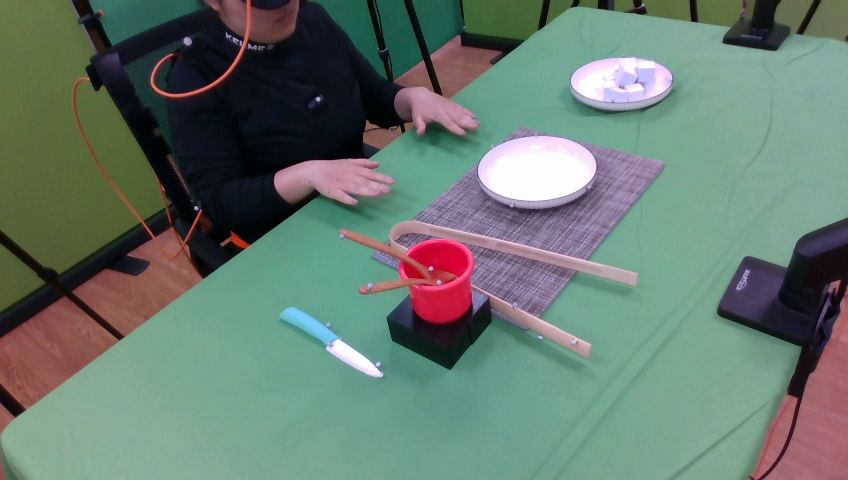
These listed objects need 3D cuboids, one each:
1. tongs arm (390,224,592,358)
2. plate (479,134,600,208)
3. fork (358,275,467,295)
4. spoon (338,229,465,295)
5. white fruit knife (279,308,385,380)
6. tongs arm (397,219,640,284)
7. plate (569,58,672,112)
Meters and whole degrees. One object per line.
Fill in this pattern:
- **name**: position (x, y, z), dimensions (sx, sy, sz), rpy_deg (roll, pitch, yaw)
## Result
- **tongs arm**: position (0.082, 0.063, 0.879), dimensions (0.381, 0.026, 0.051), rpy_deg (25, 52, 34)
- **plate**: position (0.202, -0.117, 1.065), dimensions (0.207, 0.039, 0.206), rpy_deg (-5, 40, 5)
- **fork**: position (-0.009, 0.056, 0.739), dimensions (0.028, 0.018, 0.209), rpy_deg (48, 23, 26)
- **spoon**: position (-0.025, 0.026, 0.776), dimensions (0.021, 0.195, 0.041), rpy_deg (-41, 34, 32)
- **white fruit knife**: position (-0.130, 0.143, 0.845), dimensions (0.206, 0.016, 0.027), rpy_deg (25, 79, 32)
- **tongs arm**: position (0.132, 0.015, 0.926), dimensions (0.385, 0.028, 0.028), rpy_deg (13, 50, 25)
- **plate**: position (0.411, -0.323, 1.274), dimensions (0.209, 0.038, 0.208), rpy_deg (-5, 41, 5)
